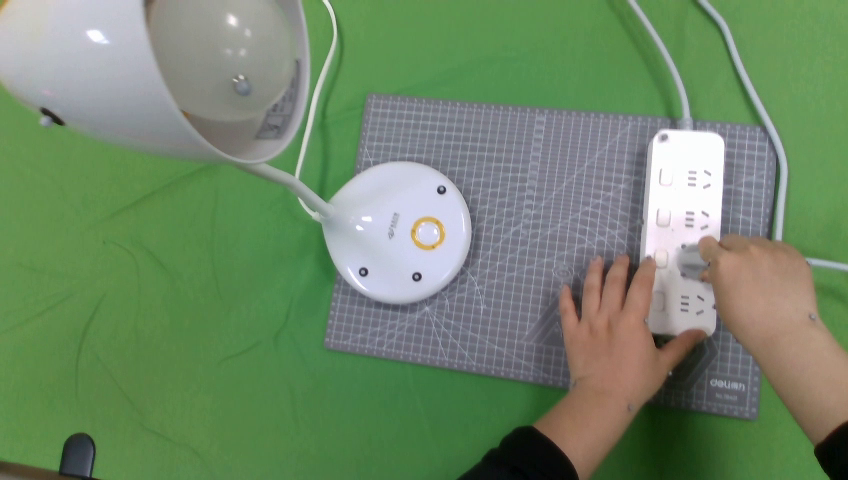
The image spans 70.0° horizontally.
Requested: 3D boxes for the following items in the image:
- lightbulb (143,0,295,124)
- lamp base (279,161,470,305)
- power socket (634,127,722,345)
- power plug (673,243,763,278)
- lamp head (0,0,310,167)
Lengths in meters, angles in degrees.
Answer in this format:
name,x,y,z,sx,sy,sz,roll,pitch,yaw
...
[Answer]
name,x,y,z,sx,sy,sz,roll,pitch,yaw
lightbulb,-0.108,-0.083,0.265,0.107,0.060,0.059,9,81,19
lamp base,-0.055,-0.024,0.594,0.179,0.181,0.160,1,80,12
power socket,0.259,-0.007,0.617,0.072,0.033,0.226,6,81,9
power plug,0.280,0.026,0.589,0.072,0.053,0.035,20,84,11
lamp head,-0.128,-0.086,0.280,0.122,0.113,0.112,-1,79,25
